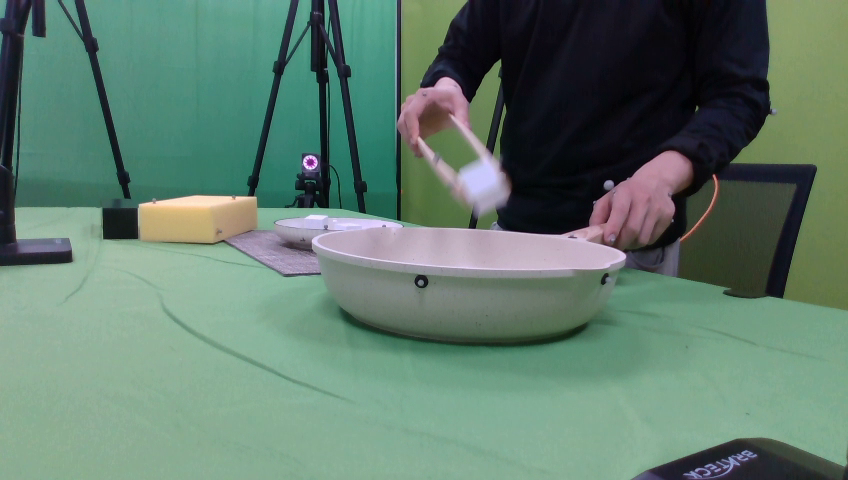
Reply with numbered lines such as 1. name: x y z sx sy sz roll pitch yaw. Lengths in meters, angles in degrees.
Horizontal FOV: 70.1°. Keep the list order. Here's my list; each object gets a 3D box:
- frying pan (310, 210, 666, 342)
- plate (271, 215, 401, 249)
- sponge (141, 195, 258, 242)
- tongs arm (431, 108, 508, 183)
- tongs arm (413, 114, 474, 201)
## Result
1. frying pan: 0.120 0.011 0.643 0.490 0.102 0.305 -13 16 -36
2. plate: -0.141 -0.012 0.978 0.208 0.039 0.207 3 7 0
3. sponge: -0.380 -0.040 1.047 0.118 0.061 0.207 1 8 3
4. tongs arm: 0.046 -0.119 0.703 0.028 0.028 0.386 -32 19 5
5. tongs arm: 0.025 -0.108 0.704 0.051 0.026 0.383 -30 19 0
